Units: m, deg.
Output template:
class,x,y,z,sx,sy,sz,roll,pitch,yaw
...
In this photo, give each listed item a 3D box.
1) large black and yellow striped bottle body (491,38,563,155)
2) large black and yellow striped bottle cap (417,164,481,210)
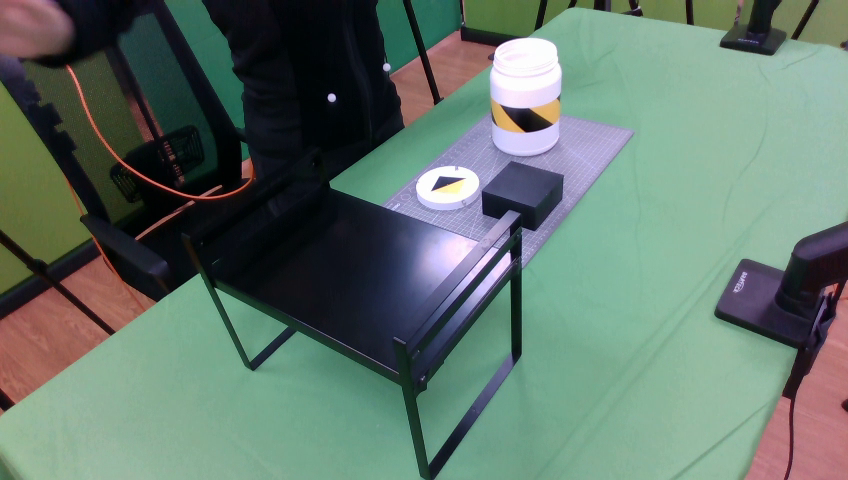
class,x,y,z,sx,sy,sz,roll,pitch,yaw
large black and yellow striped bottle body,0.192,-0.268,1.130,0.131,0.185,0.130,-5,41,4
large black and yellow striped bottle cap,0.045,-0.097,1.084,0.115,0.019,0.114,-4,42,4
